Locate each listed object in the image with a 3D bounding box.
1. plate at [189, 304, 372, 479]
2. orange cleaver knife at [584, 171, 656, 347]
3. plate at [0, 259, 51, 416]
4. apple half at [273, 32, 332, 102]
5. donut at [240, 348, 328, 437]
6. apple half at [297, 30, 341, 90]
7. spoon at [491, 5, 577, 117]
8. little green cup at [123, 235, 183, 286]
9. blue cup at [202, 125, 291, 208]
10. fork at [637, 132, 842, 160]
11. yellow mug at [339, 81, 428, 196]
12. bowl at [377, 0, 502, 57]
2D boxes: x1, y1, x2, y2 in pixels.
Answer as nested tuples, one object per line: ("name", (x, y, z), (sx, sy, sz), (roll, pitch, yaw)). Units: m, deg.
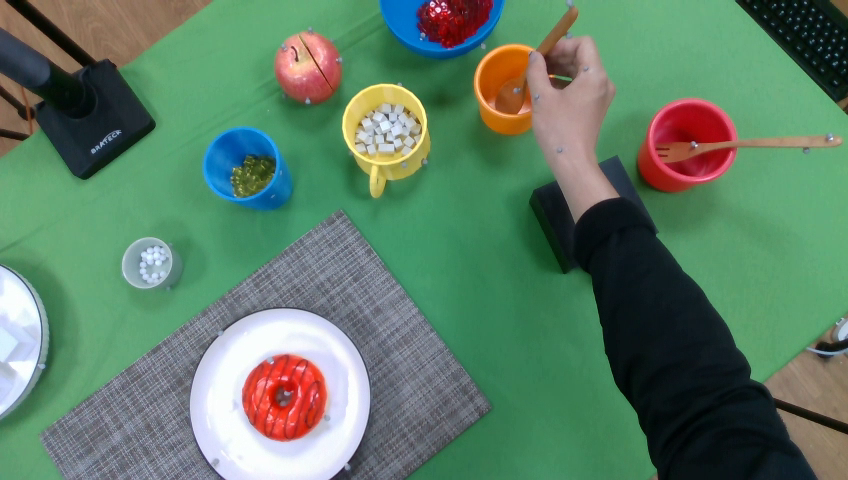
("plate", (-0.161, 0.178, 0.695), (0.209, 0.038, 0.208), (-1, 80, 3))
("orange cleaver knife", (0.219, 0.022, 0.681), (0.012, 0.076, 0.212), (-23, 109, 1))
("plate", (-0.546, 0.122, 0.730), (0.207, 0.039, 0.207), (-1, 80, 3))
("apple half", (-0.155, -0.204, 0.745), (0.053, 0.075, 0.080), (-32, 83, 1))
("donut", (-0.158, 0.172, 0.684), (0.099, 0.048, 0.098), (-1, 82, 4))
("apple half", (-0.121, -0.226, 0.746), (0.033, 0.081, 0.081), (-32, 79, -1))
("spoon", (0.111, -0.184, 0.639), (0.022, 0.194, 0.041), (-17, 81, -16))
("little green cup", (-0.325, 0.027, 0.733), (0.061, 0.039, 0.061), (-1, 80, 4))
("blue cup", (-0.199, -0.078, 0.712), (0.092, 0.100, 0.092), (0, 81, 2))
("fork", (0.334, -0.106, 0.663), (0.206, 0.019, 0.028), (3, 62, 46))
("yellow mug", (-0.050, -0.116, 0.728), (0.100, 0.064, 0.130), (10, 82, 4))
("bowl", (0.021, -0.286, 0.746), (0.151, 0.077, 0.151), (0, 81, 3))
